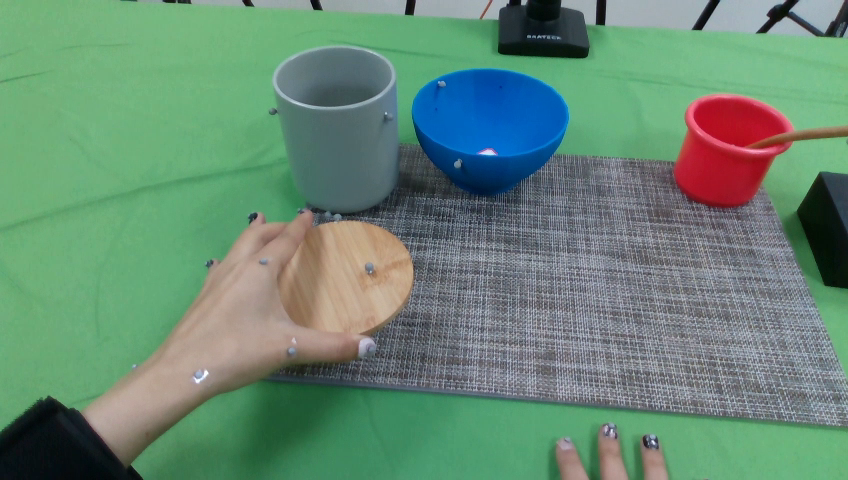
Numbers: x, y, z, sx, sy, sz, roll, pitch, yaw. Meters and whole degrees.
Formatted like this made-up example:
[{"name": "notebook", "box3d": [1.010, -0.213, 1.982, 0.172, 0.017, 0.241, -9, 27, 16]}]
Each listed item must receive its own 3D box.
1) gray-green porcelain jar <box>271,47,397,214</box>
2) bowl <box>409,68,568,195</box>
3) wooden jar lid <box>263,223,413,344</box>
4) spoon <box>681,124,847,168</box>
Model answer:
[{"name": "gray-green porcelain jar", "box3d": [-0.078, -0.096, 0.563, 0.106, 0.127, 0.105, 1, 46, 0]}, {"name": "bowl", "box3d": [0.061, -0.098, 0.601, 0.151, 0.077, 0.150, 0, 46, 0]}, {"name": "wooden jar lid", "box3d": [-0.062, 0.033, 0.443, 0.108, 0.021, 0.107, -2, 48, 2]}, {"name": "spoon", "box3d": [0.316, -0.087, 0.548, 0.041, 0.193, 0.022, -28, 98, -23]}]
